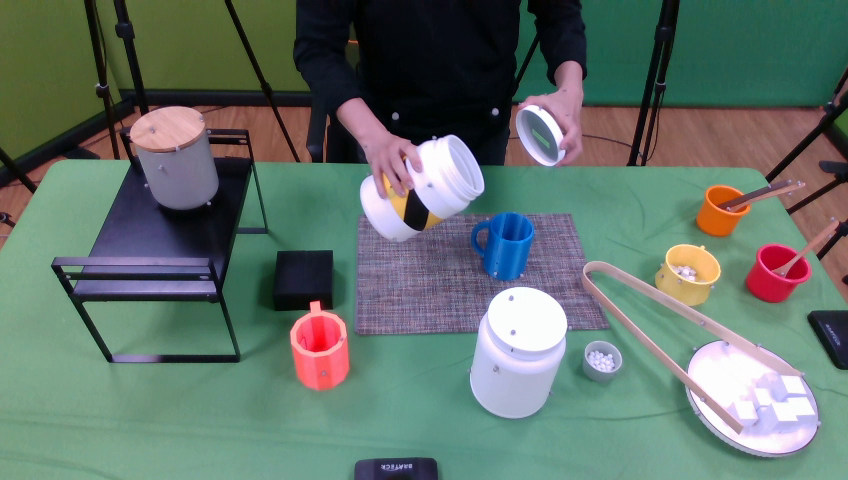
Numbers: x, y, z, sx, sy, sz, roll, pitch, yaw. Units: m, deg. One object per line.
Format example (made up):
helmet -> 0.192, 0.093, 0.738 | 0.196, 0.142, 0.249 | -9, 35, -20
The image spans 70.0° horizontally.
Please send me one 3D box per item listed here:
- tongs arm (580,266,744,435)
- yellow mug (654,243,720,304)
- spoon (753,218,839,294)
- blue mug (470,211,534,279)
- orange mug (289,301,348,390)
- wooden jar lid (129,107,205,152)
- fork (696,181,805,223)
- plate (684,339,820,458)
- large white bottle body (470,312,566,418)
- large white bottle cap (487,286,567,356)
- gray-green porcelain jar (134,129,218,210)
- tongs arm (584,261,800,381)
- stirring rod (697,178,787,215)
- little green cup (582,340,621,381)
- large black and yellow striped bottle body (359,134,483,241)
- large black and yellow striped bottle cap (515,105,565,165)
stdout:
tongs arm -> 0.384, 0.173, 1.028 | 0.028, 0.028, 0.385 | -25, 46, -15
yellow mug -> 0.504, 0.054, 1.154 | 0.099, 0.064, 0.130 | 28, 50, 22
spoon -> 0.700, 0.031, 1.138 | 0.194, 0.022, 0.041 | -47, 55, 14
blue mug -> 0.141, 0.005, 1.140 | 0.116, 0.106, 0.082 | 18, 48, 13
orange mug -> -0.170, 0.162, 0.976 | 0.083, 0.101, 0.125 | -8, 52, -12
wooden jar lid -> -0.385, -0.163, 0.915 | 0.108, 0.021, 0.107 | 2, 47, -2
fork -> 0.659, -0.077, 1.232 | 0.207, 0.019, 0.028 | -26, 35, 34
plate -> 0.523, 0.256, 0.982 | 0.208, 0.039, 0.206 | 2, 46, -2
large white bottle body -> 0.143, 0.173, 0.930 | 0.131, 0.185, 0.130 | 2, 46, -2
large white bottle cap -> 0.147, 0.114, 0.869 | 0.115, 0.018, 0.114 | 3, 46, -3
gray-green porcelain jar -> -0.388, -0.120, 0.960 | 0.106, 0.127, 0.105 | 2, 46, -2
tongs arm -> 0.452, 0.137, 1.064 | 0.051, 0.027, 0.382 | -34, 50, -27
stirring rod -> 0.650, -0.088, 1.245 | 0.006, 0.176, 0.014 | 29, 50, -39
little green cup -> 0.295, 0.204, 1.014 | 0.061, 0.039, 0.061 | 2, 45, -2
large black and yellow striped bottle body -> -0.004, -0.090, 1.034 | 0.184, 0.131, 0.130 | -27, 40, 25
large black and yellow striped bottle cap -> 0.207, -0.186, 1.079 | 0.019, 0.115, 0.114 | -35, 57, -13
